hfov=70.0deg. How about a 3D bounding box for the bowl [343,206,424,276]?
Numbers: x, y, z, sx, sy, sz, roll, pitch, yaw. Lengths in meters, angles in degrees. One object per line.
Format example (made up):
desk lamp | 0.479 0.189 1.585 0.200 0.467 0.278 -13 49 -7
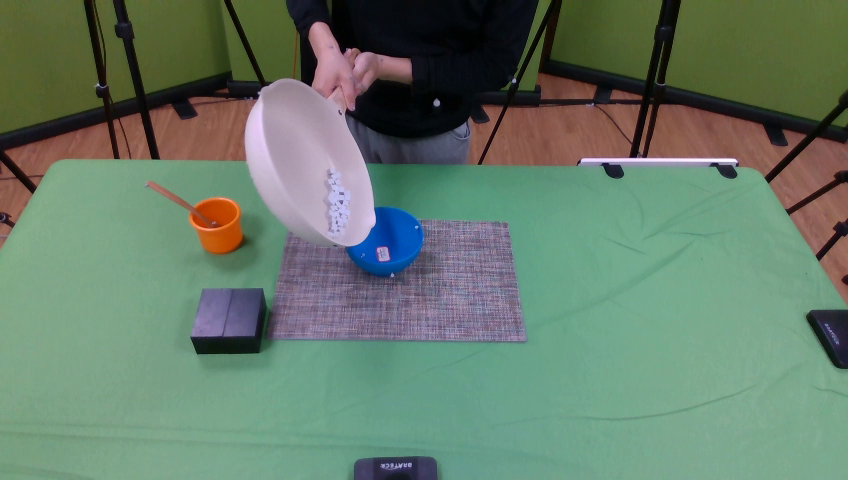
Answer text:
bowl | -0.079 0.014 1.134 0.151 0.077 0.150 2 46 -2

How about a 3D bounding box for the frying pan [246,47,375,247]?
frying pan | -0.172 -0.196 1.074 0.102 0.309 0.485 -13 44 27

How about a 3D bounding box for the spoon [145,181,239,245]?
spoon | -0.428 -0.052 1.126 0.195 0.021 0.041 42 38 -28
